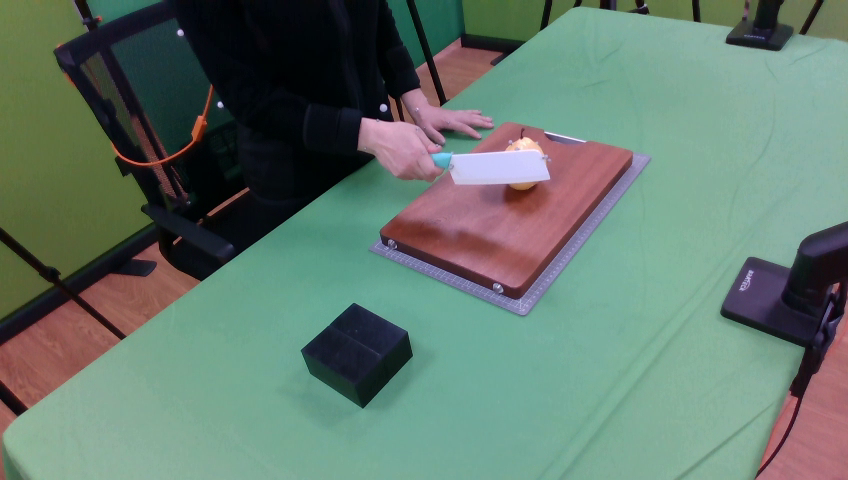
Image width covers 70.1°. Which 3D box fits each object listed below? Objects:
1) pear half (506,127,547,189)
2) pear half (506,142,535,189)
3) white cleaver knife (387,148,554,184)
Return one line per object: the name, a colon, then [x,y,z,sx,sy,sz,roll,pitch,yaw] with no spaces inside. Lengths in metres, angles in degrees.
pear half: [0.174,-0.145,1.011,0.076,0.110,0.056,27,52,30]
pear half: [0.152,-0.119,1.000,0.070,0.088,0.031,28,54,30]
white cleaver knife: [0.060,-0.112,0.941,0.284,0.066,0.021,4,42,33]
